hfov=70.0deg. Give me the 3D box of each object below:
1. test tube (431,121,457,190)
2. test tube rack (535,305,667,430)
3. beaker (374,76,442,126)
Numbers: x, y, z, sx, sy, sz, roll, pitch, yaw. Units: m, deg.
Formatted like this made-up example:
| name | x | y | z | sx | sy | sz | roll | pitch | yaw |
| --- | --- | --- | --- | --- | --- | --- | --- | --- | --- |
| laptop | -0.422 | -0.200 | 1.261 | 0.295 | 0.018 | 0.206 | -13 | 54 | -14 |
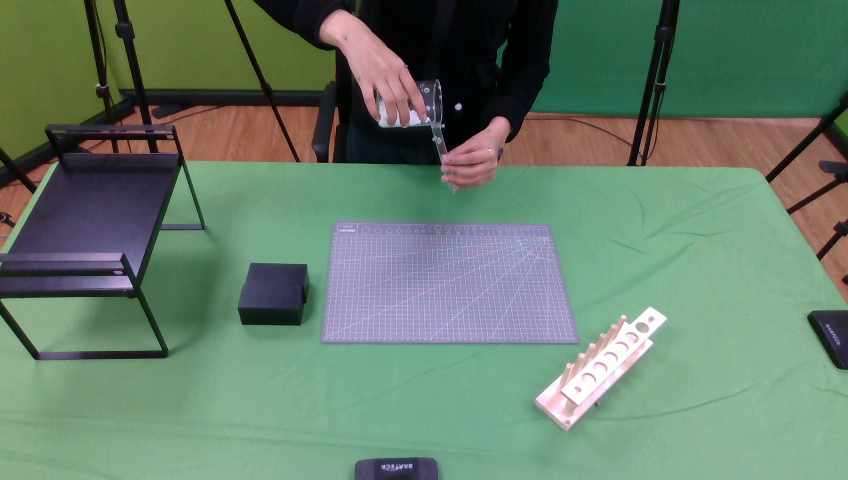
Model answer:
| name | x | y | z | sx | sy | sz | roll | pitch | yaw |
| --- | --- | --- | --- | --- | --- | --- | --- | --- | --- |
| test tube | 0.035 | -0.142 | 1.047 | 0.017 | 0.151 | 0.017 | -9 | 46 | 10 |
| test tube rack | 0.290 | 0.193 | 0.984 | 0.242 | 0.085 | 0.066 | -32 | 56 | -30 |
| beaker | -0.027 | -0.216 | 0.962 | 0.100 | 0.084 | 0.073 | -4 | 43 | -7 |
